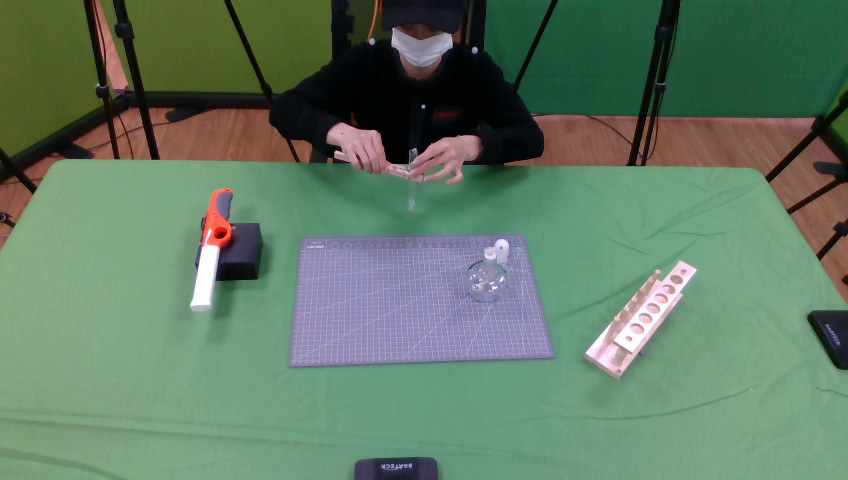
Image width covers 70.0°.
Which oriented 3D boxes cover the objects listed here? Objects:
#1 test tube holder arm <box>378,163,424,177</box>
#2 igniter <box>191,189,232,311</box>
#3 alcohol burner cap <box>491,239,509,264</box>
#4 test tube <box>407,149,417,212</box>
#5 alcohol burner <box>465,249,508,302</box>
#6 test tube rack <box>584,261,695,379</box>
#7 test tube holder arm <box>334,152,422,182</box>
[{"bbox_3d":[-0.045,-0.135,1.161,0.088,0.015,0.010,8,45,-1],"label":"test tube holder arm"},{"bbox_3d":[-0.381,0.008,1.092,0.057,0.025,0.274,-1,50,-7],"label":"igniter"},{"bbox_3d":[0.150,0.020,1.174,0.034,0.048,0.033,2,46,-2],"label":"alcohol burner cap"},{"bbox_3d":[-0.024,-0.111,1.171,0.017,0.151,0.017,2,45,-2],"label":"test tube"},{"bbox_3d":[0.114,0.057,1.085,0.078,0.120,0.077,2,48,-2],"label":"alcohol burner"},{"bbox_3d":[0.380,0.127,1.062,0.066,0.085,0.242,34,53,26],"label":"test tube rack"},{"bbox_3d":[-0.089,-0.141,1.161,0.178,0.015,0.013,15,45,7],"label":"test tube holder arm"}]
